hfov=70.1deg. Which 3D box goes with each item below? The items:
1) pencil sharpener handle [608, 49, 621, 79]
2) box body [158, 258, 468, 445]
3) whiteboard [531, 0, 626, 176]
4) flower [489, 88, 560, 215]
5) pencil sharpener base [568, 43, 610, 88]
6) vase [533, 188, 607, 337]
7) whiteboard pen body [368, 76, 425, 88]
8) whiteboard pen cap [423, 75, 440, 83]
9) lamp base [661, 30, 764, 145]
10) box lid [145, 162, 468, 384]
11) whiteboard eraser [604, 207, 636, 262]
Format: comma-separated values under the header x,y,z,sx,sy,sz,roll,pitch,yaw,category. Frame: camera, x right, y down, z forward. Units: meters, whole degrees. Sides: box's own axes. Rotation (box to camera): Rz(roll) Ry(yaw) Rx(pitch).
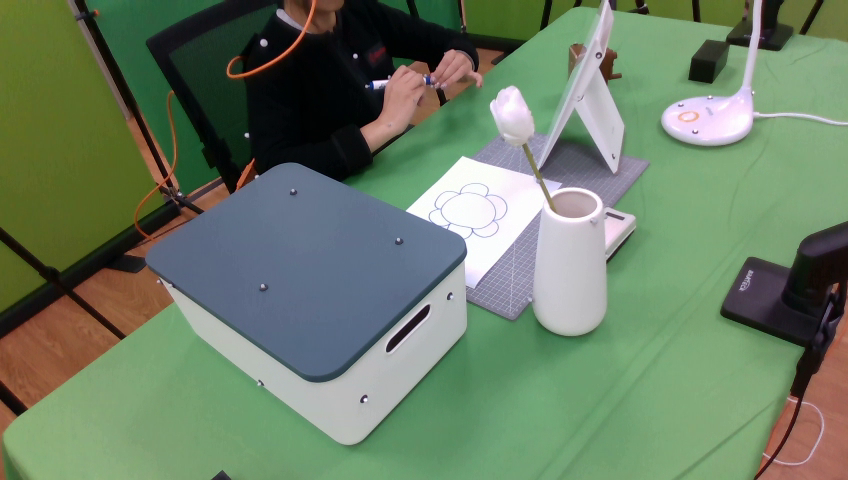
x,y,z,sx,sy,sz,roll,pitch,yaw,category
0.394,-0.368,1.253,0.030,0.068,0.036,-8,32,1,pencil sharpener handle
-0.147,0.072,0.816,0.361,0.161,0.255,24,50,33,box body
0.320,-0.259,1.050,0.144,0.306,0.217,22,45,6,whiteboard
0.158,-0.027,0.720,0.038,0.364,0.044,-14,44,23,flower
0.345,-0.352,1.263,0.077,0.107,0.061,-8,40,1,pencil sharpener base
0.187,0.033,0.771,0.098,0.201,0.097,-6,41,6,vase
-0.043,-0.315,1.201,0.141,0.017,0.017,-10,39,-20,whiteboard pen body
0.014,-0.325,1.219,0.033,0.018,0.018,-6,39,-17,whiteboard pen cap
0.535,-0.287,1.096,0.179,0.181,0.159,-10,40,-4,lamp base
-0.157,0.014,0.769,0.368,0.015,0.264,25,51,33,box lid
0.272,-0.003,0.919,0.055,0.042,0.113,27,51,32,whiteboard eraser
